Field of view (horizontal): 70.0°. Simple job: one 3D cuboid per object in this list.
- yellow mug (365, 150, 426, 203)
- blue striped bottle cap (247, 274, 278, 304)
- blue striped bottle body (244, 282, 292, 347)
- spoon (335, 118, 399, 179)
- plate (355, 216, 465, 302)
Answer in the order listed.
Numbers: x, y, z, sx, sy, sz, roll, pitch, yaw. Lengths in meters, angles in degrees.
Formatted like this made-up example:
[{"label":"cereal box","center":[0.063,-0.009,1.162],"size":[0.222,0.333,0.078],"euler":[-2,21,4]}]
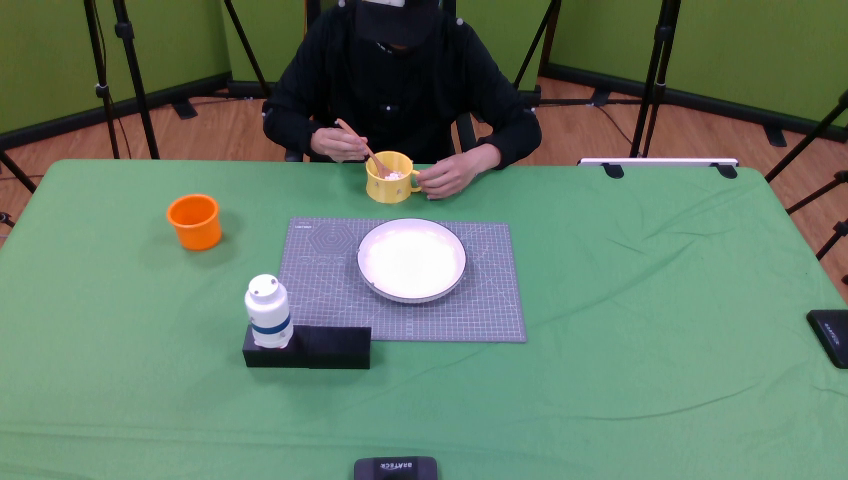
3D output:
[{"label":"yellow mug","center":[-0.061,-0.133,1.291],"size":[0.131,0.064,0.099],"euler":[9,46,3]},{"label":"blue striped bottle cap","center":[-0.239,0.072,0.900],"size":[0.044,0.021,0.044],"euler":[4,46,-4]},{"label":"blue striped bottle body","center":[-0.241,0.108,0.937],"size":[0.063,0.121,0.062],"euler":[2,46,-2]},{"label":"spoon","center":[-0.115,-0.179,1.256],"size":[0.194,0.021,0.041],"euler":[50,55,-19]},{"label":"plate","center":[-0.027,0.039,1.144],"size":[0.208,0.039,0.206],"euler":[2,46,-2]}]
